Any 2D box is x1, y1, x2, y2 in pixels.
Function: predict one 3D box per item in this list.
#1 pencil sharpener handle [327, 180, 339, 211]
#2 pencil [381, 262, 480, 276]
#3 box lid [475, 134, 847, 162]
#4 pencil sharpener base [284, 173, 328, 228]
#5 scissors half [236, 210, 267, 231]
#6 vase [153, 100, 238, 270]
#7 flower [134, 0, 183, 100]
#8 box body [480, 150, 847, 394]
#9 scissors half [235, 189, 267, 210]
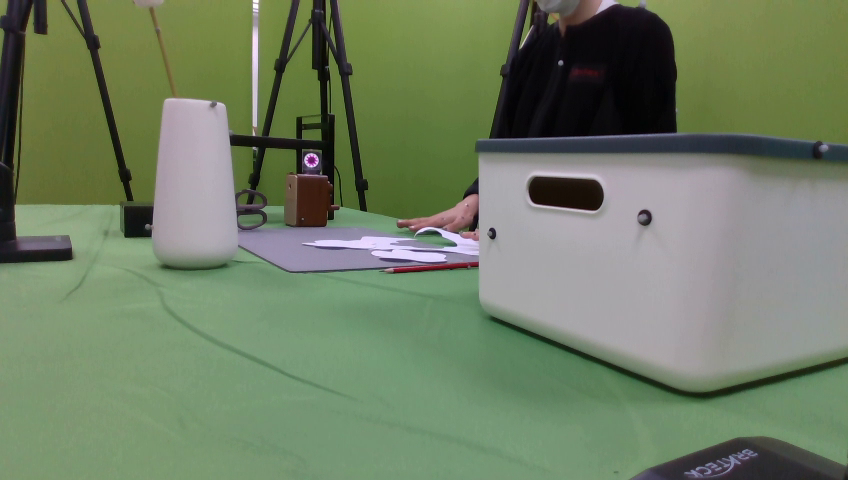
[{"bbox_3d":[-0.194,-0.094,1.256,0.031,0.067,0.036,-2,-5,-36],"label":"pencil sharpener handle"},{"bbox_3d":[0.031,0.037,0.794,0.195,0.012,0.012,-4,10,-31],"label":"pencil"},{"bbox_3d":[0.256,-0.073,0.528,0.373,0.015,0.262,-2,8,-31],"label":"box lid"},{"bbox_3d":[-0.239,-0.081,1.231,0.077,0.107,0.061,-2,8,-36],"label":"pencil sharpener base"},{"bbox_3d":[-0.367,-0.042,1.071,0.176,0.040,0.012,7,11,-31],"label":"scissors half"},{"bbox_3d":[-0.278,-0.066,0.736,0.098,0.200,0.098,2,9,0],"label":"vase"},{"bbox_3d":[-0.282,-0.147,0.713,0.038,0.362,0.044,-23,24,-31],"label":"flower"},{"bbox_3d":[0.254,0.002,0.539,0.366,0.160,0.253,-2,8,-31],"label":"box body"},{"bbox_3d":[-0.365,-0.062,1.067,0.176,0.040,0.013,-12,15,-28],"label":"scissors half"}]
